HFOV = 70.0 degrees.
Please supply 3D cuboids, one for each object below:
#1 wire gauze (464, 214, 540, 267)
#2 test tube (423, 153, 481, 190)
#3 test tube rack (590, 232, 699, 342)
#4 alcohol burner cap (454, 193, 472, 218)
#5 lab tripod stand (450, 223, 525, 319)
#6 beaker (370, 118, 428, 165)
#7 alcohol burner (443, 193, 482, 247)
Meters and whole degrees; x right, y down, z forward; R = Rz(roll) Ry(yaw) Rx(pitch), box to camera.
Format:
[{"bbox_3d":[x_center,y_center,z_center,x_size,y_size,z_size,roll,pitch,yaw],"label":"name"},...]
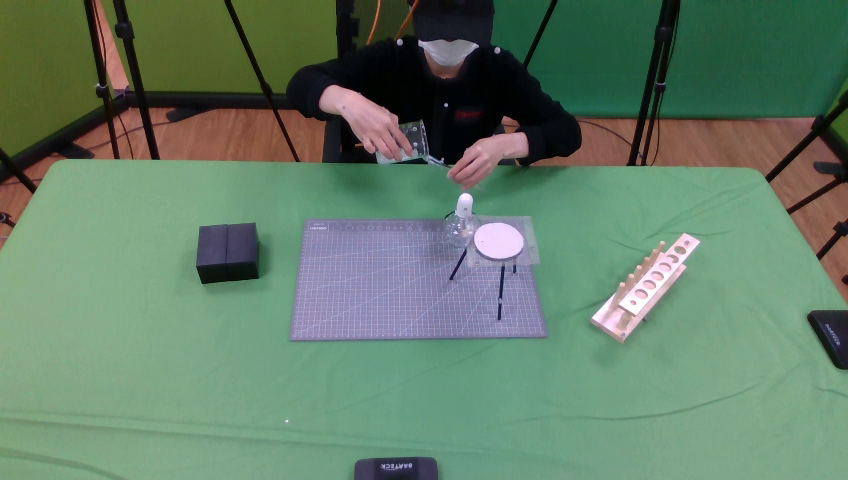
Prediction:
[{"bbox_3d":[0.131,-0.002,1.034,0.121,0.011,0.124,1,45,-2],"label":"wire gauze"},{"bbox_3d":[0.059,-0.137,1.221,0.151,0.017,0.017,26,37,-31],"label":"test tube"},{"bbox_3d":[0.407,0.074,1.112,0.066,0.085,0.242,35,53,26],"label":"test tube rack"},{"bbox_3d":[0.076,-0.068,1.151,0.034,0.048,0.033,4,46,-4],"label":"alcohol burner cap"},{"bbox_3d":[0.120,0.046,1.080,0.148,0.132,0.147,1,47,-1],"label":"lab tripod stand"},{"bbox_3d":[-0.048,-0.184,1.156,0.100,0.084,0.073,-11,40,-3],"label":"beaker"},{"bbox_3d":[0.075,-0.044,1.177,0.078,0.120,0.077,2,45,-1],"label":"alcohol burner"}]
